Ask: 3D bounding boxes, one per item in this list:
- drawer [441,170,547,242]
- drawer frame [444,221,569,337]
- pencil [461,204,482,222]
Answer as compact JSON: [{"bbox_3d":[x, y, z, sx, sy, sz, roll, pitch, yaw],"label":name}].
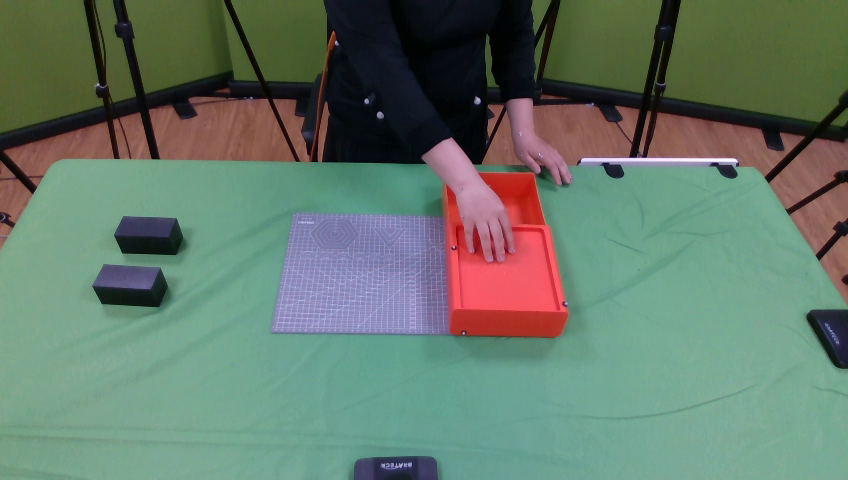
[{"bbox_3d":[0.137,-0.048,1.213,0.195,0.073,0.210,2,43,-4],"label":"drawer"},{"bbox_3d":[0.141,0.067,1.097,0.202,0.083,0.212,2,46,-4],"label":"drawer frame"},{"bbox_3d":[0.133,-0.018,1.220,0.012,0.012,0.193,-24,51,-25],"label":"pencil"}]
